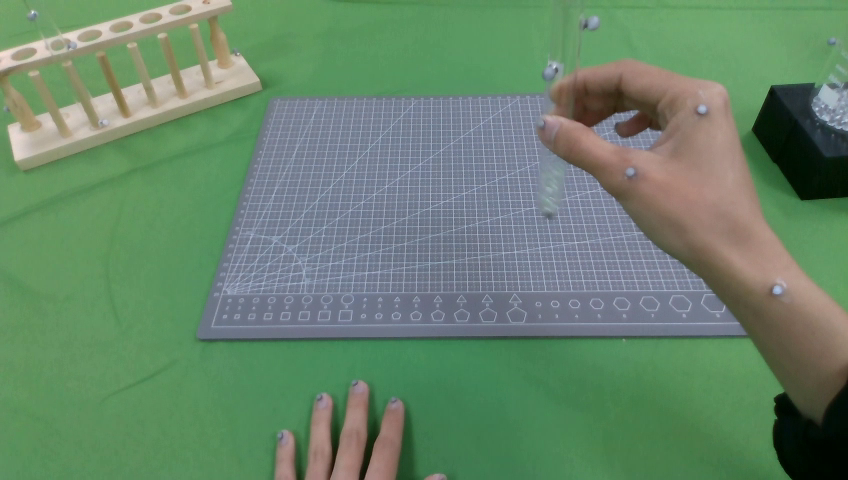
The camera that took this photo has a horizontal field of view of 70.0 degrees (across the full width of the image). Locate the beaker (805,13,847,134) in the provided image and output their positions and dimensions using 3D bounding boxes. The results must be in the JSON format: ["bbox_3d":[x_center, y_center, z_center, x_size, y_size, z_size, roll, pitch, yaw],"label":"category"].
[{"bbox_3d":[0.361,-0.143,0.486,0.074,0.101,0.083,-22,51,-16],"label":"beaker"}]

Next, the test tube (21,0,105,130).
[{"bbox_3d":[-0.325,-0.164,0.543,0.017,0.152,0.017,-1,46,1],"label":"test tube"}]

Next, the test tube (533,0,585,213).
[{"bbox_3d":[0.068,-0.064,0.316,0.017,0.151,0.017,-3,53,4],"label":"test tube"}]

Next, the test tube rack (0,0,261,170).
[{"bbox_3d":[-0.297,-0.162,0.601,0.242,0.086,0.066,-25,52,-19],"label":"test tube rack"}]
